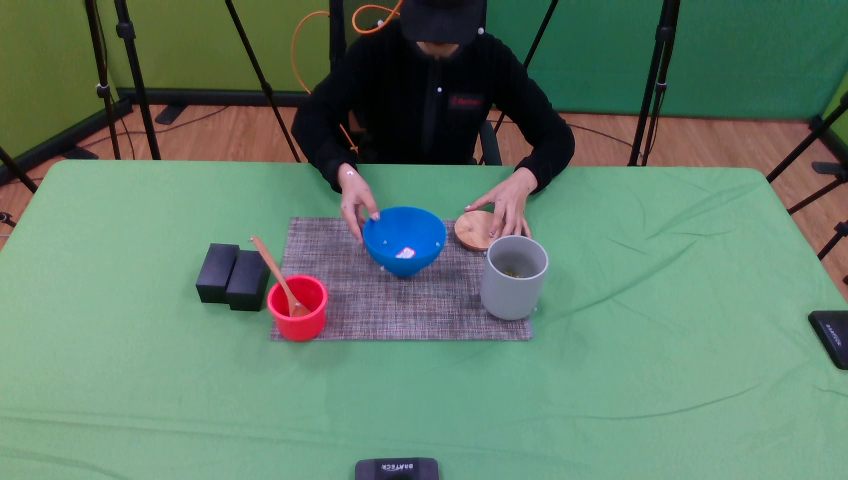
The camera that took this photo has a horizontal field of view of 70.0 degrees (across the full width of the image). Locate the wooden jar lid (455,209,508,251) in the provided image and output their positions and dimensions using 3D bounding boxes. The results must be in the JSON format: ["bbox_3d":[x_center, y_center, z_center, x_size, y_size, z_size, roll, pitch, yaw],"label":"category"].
[{"bbox_3d":[0.115,-0.018,1.220,0.108,0.021,0.107,2,47,-2],"label":"wooden jar lid"}]

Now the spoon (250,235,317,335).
[{"bbox_3d":[-0.237,0.075,1.019,0.041,0.021,0.194,-32,100,-32],"label":"spoon"}]

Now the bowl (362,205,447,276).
[{"bbox_3d":[-0.036,0.012,1.097,0.151,0.077,0.150,2,40,-2],"label":"bowl"}]

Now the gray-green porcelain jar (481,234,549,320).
[{"bbox_3d":[0.156,0.070,1.065,0.106,0.127,0.105,2,46,-2],"label":"gray-green porcelain jar"}]
